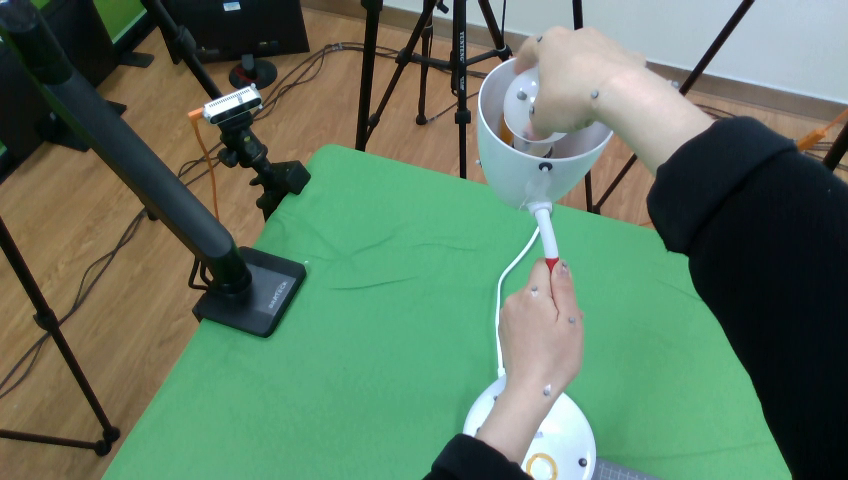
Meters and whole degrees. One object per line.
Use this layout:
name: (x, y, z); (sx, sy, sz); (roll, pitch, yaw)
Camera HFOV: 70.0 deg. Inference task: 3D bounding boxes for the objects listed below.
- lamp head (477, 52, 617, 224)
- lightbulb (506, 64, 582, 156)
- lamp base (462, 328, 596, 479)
lamp head: (0.097, -0.078, 0.524); (0.112, 0.124, 0.111); (1, 56, -1)
lightbulb: (0.096, -0.097, 0.502); (0.059, 0.108, 0.059); (-1, 61, 2)
lamp base: (0.120, 0.188, 0.674); (0.161, 0.182, 0.177); (-20, 55, -13)
